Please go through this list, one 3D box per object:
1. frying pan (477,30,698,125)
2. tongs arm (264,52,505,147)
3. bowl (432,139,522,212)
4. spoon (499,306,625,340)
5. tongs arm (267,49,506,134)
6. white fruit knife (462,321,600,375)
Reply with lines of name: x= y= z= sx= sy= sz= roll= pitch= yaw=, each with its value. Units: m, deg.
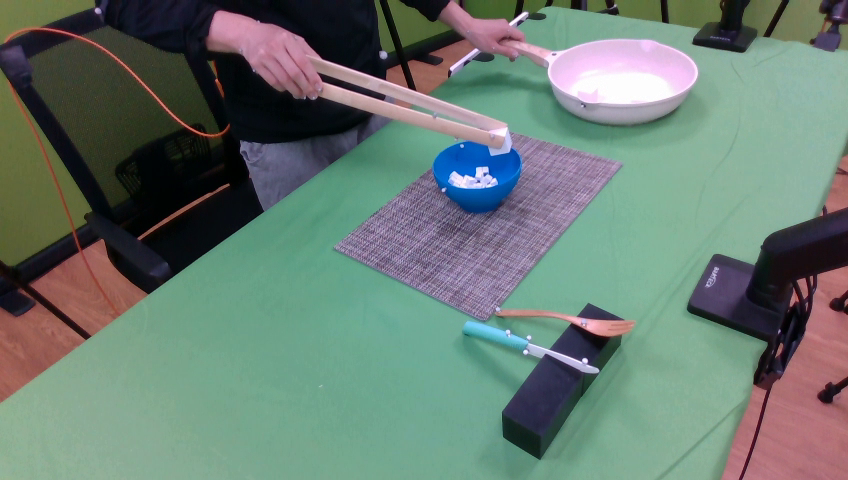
frying pan: x=0.321 y=-0.371 z=1.290 sx=0.484 sy=0.103 sz=0.308 roll=29 pitch=51 yaw=24
tongs arm: x=-0.060 y=-0.215 z=0.938 sx=0.386 sy=0.026 sz=0.050 roll=14 pitch=49 yaw=-8
bowl: x=0.091 y=-0.100 z=1.022 sx=0.151 sy=0.077 sz=0.150 roll=-4 pitch=41 yaw=4
spoon: x=0.169 y=0.102 z=0.773 sx=0.042 sy=0.021 sz=0.192 roll=-10 pitch=13 yaw=-38
tongs arm: x=-0.056 y=-0.233 z=0.954 sx=0.388 sy=0.028 sz=0.028 roll=17 pitch=52 yaw=-5
white fruit knife: x=0.126 y=0.132 z=0.752 sx=0.205 sy=0.027 sz=0.016 roll=12 pitch=47 yaw=42
